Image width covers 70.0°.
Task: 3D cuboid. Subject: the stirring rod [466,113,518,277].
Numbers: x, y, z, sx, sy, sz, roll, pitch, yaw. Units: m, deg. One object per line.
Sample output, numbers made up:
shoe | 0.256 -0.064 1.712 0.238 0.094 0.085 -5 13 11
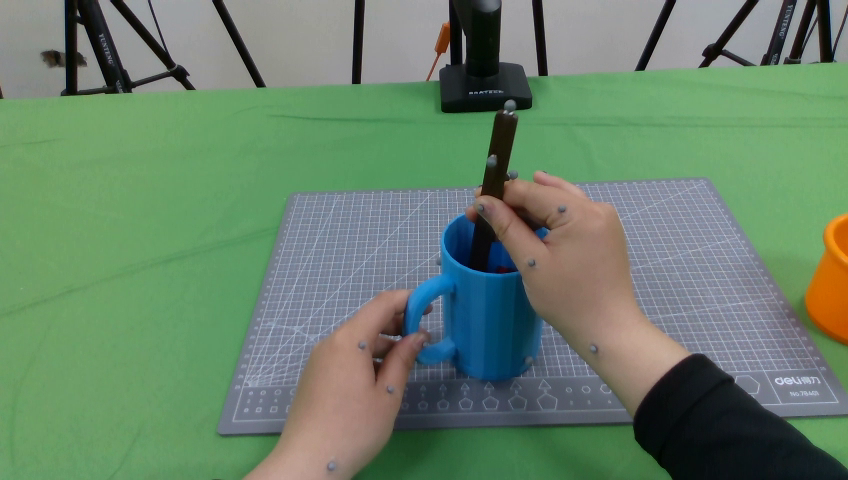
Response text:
stirring rod | 0.040 -0.010 0.402 0.014 0.177 0.006 16 48 9

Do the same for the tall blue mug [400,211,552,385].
tall blue mug | 0.042 0.052 0.438 0.077 0.109 0.107 20 45 25
